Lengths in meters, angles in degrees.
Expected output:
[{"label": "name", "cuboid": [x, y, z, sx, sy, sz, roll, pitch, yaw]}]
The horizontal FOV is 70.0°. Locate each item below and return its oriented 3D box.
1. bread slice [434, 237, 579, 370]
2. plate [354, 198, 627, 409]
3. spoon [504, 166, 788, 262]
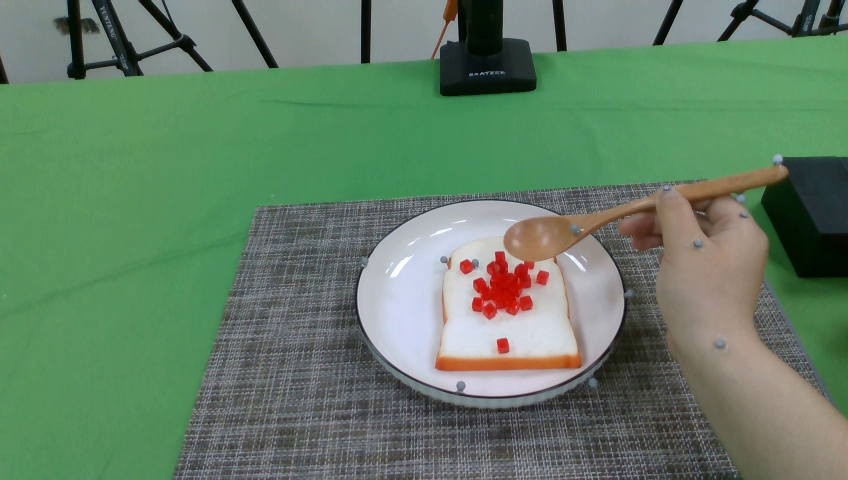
[{"label": "bread slice", "cuboid": [0.062, 0.046, 0.482, 0.105, 0.019, 0.130, -1, 44, 4]}, {"label": "plate", "cuboid": [0.050, 0.046, 0.481, 0.209, 0.038, 0.207, -3, 44, 3]}, {"label": "spoon", "cuboid": [0.147, -0.019, 0.426, 0.193, 0.022, 0.041, -18, 48, 31]}]
